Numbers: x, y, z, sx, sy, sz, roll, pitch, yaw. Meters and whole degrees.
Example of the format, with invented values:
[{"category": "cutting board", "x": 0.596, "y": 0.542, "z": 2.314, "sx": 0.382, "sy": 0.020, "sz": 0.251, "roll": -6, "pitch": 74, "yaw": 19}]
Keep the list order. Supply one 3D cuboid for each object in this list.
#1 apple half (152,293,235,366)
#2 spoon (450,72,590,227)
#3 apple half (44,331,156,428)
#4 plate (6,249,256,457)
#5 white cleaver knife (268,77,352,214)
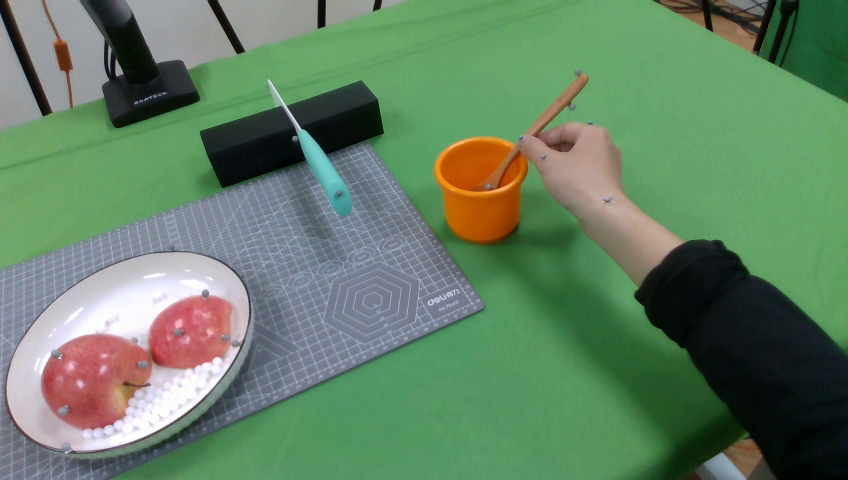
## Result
[{"category": "apple half", "x": -0.209, "y": 0.074, "z": 0.540, "sx": 0.081, "sy": 0.033, "sz": 0.080, "roll": -2, "pitch": 49, "yaw": 3}, {"category": "spoon", "x": 0.092, "y": -0.085, "z": 0.592, "sx": 0.022, "sy": 0.194, "sz": 0.041, "roll": 16, "pitch": 32, "yaw": -43}, {"category": "apple half", "x": -0.275, "y": 0.108, "z": 0.504, "sx": 0.074, "sy": 0.054, "sz": 0.080, "roll": 11, "pitch": 49, "yaw": 20}, {"category": "plate", "x": -0.249, "y": 0.096, "z": 0.534, "sx": 0.209, "sy": 0.038, "sz": 0.207, "roll": -3, "pitch": 46, "yaw": 4}, {"category": "white cleaver knife", "x": -0.134, "y": -0.110, "z": 0.696, "sx": 0.021, "sy": 0.066, "sz": 0.283, "roll": -25, "pitch": 45, "yaw": -10}]
